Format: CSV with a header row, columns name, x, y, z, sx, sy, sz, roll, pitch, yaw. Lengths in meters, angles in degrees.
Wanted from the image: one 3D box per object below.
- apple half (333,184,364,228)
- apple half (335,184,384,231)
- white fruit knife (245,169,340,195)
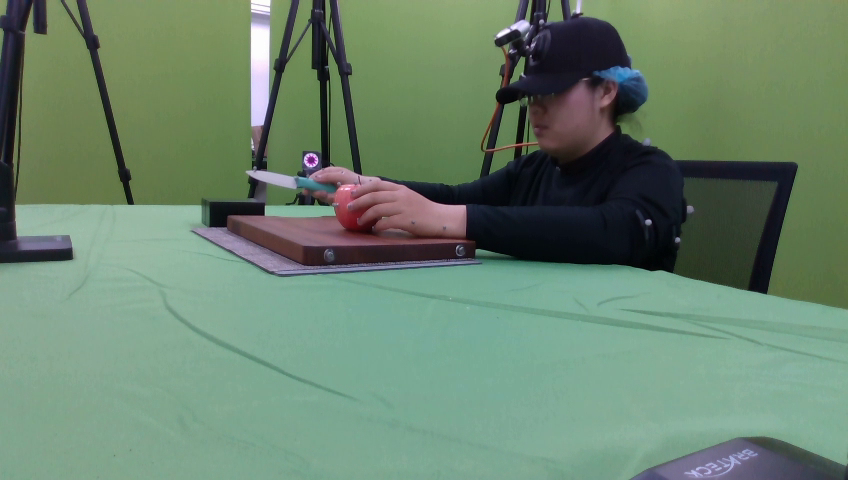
name,x,y,z,sx,sy,sz,roll,pitch,yaw
apple half,-0.122,-0.056,0.975,0.032,0.081,0.082,15,14,42
apple half,-0.094,-0.050,0.949,0.053,0.074,0.081,15,9,43
white fruit knife,-0.247,-0.113,1.176,0.208,0.027,0.016,10,3,-37
